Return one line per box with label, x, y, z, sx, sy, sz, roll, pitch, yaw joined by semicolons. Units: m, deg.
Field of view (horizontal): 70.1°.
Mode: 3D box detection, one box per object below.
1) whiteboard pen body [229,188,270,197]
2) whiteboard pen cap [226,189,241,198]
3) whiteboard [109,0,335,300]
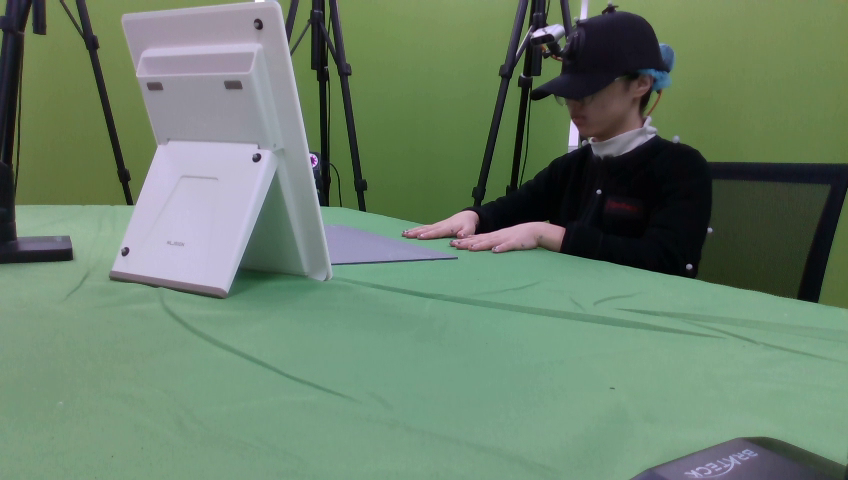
whiteboard pen body;-0.378;-0.103;1.313;0.017;0.017;0.141;4;8;18
whiteboard pen cap;-0.396;-0.096;1.258;0.018;0.018;0.033;4;5;17
whiteboard;-0.247;-0.072;0.624;0.216;0.305;0.144;6;28;26
